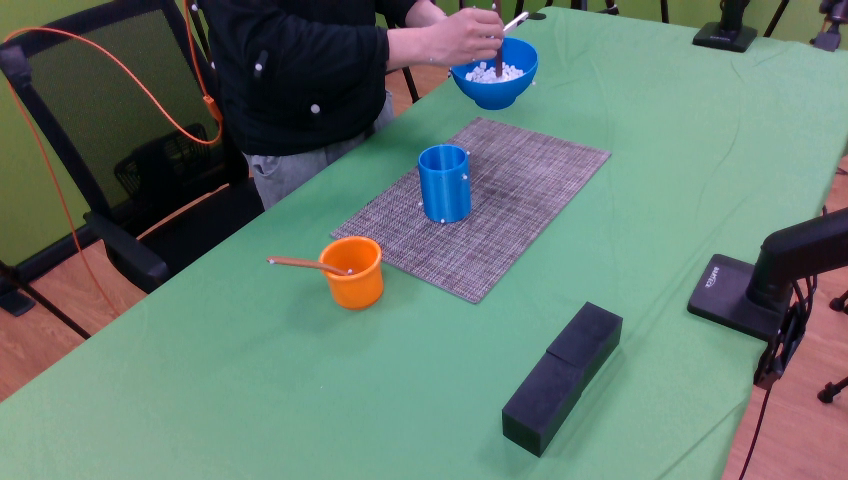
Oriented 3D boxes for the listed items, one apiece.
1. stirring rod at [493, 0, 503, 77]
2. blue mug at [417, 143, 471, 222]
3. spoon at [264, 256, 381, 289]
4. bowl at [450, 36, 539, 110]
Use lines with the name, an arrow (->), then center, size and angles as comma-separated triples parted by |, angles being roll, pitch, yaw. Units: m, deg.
stirring rod -> 0.119, -0.342, 0.975 | 0.014, 0.177, 0.005 | -32, 50, -20
blue mug -> 0.031, -0.104, 1.014 | 0.082, 0.106, 0.115 | -14, 41, -7
spoon -> -0.136, 0.041, 0.842 | 0.021, 0.195, 0.041 | -56, 46, 13
bowl -> 0.122, -0.279, 1.045 | 0.151, 0.077, 0.150 | -4, 46, 5
